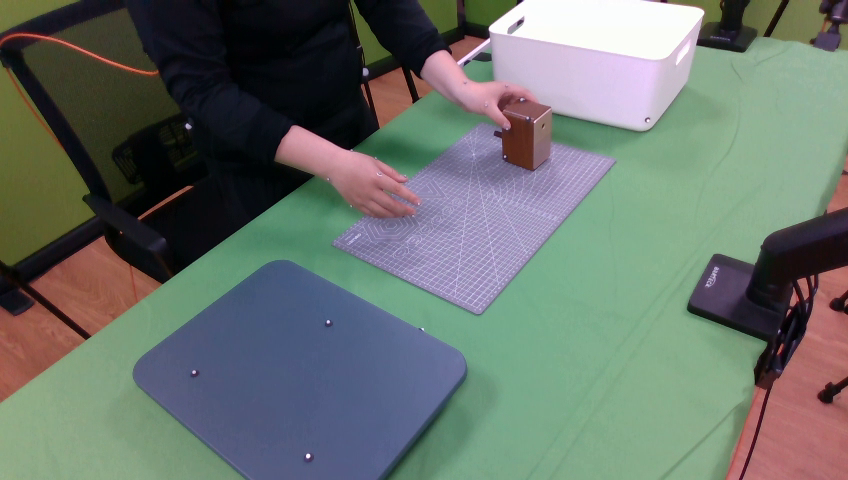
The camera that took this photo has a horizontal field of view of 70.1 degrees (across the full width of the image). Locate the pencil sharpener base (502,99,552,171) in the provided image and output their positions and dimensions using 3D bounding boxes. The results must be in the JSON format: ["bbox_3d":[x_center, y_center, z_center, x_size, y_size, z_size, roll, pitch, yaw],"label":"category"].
[{"bbox_3d":[0.185,-0.191,1.097,0.076,0.107,0.061,25,51,33],"label":"pencil sharpener base"}]

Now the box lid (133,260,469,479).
[{"bbox_3d":[-0.156,0.160,0.747,0.368,0.015,0.264,23,49,31],"label":"box lid"}]

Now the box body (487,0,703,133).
[{"bbox_3d":[0.346,-0.374,1.251,0.361,0.161,0.255,20,48,29],"label":"box body"}]

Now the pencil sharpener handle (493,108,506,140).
[{"bbox_3d":[0.143,-0.217,1.115,0.030,0.068,0.036,25,43,33],"label":"pencil sharpener handle"}]
